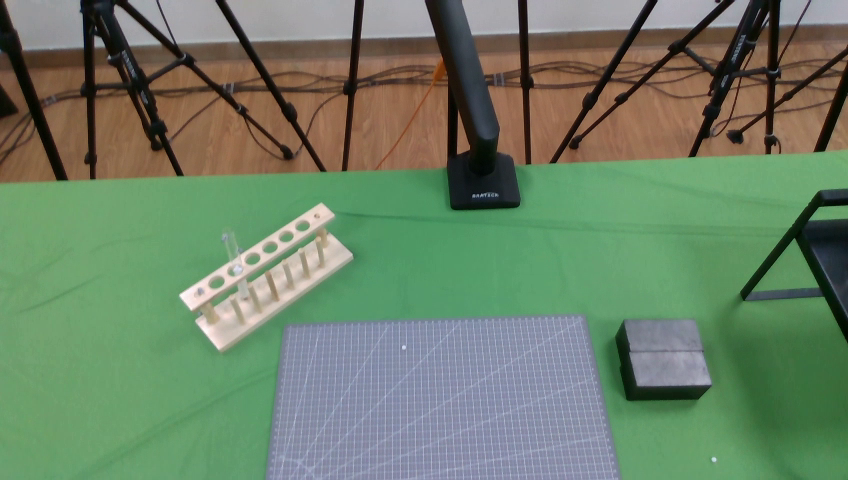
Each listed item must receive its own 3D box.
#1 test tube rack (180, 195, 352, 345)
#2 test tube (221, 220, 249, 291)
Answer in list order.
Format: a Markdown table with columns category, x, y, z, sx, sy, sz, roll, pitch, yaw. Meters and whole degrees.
| category | x | y | z | sx | sy | sz | roll | pitch | yaw |
| --- | --- | --- | --- | --- | --- | --- | --- | --- | --- |
| test tube rack | -0.225 | 0.042 | 0.899 | 0.242 | 0.086 | 0.066 | -37 | 62 | -23 |
| test tube | -0.263 | 0.025 | 0.850 | 0.017 | 0.151 | 0.017 | 3 | 51 | -3 |
